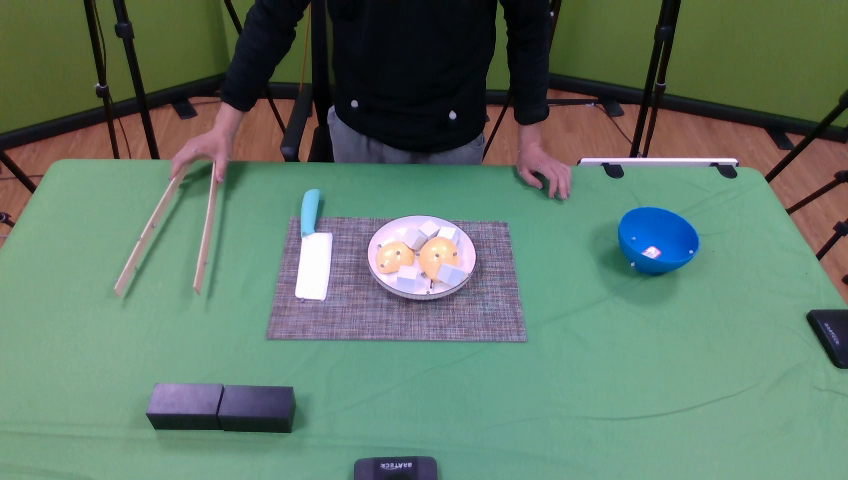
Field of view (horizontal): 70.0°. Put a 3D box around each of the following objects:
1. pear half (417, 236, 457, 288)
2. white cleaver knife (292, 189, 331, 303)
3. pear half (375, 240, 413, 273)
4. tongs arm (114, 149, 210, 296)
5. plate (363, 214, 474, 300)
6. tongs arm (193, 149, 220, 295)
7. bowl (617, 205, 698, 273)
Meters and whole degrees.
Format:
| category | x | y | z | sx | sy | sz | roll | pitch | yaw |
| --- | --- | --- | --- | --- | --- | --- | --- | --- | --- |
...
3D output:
| category | x | y | z | sx | sy | sz | roll | pitch | yaw |
| --- | --- | --- | --- | --- | --- | --- | --- | --- | --- |
| pear half | 0.022 | 0.039 | 1.127 | 0.076 | 0.056 | 0.109 | 5 | 50 | 7 |
| white cleaver knife | -0.215 | 0.006 | 1.178 | 0.066 | 0.021 | 0.284 | 5 | 49 | -13 |
| pear half | -0.059 | 0.026 | 1.145 | 0.070 | 0.031 | 0.088 | 22 | 43 | 21 |
| tongs arm | -0.500 | -0.048 | 1.179 | 0.051 | 0.027 | 0.382 | 1 | 47 | 4 |
| plate | -0.010 | 0.036 | 1.146 | 0.208 | 0.039 | 0.206 | 2 | 46 | -2 |
| tongs arm | -0.424 | -0.049 | 1.179 | 0.028 | 0.028 | 0.385 | -10 | 48 | -1 |
| bowl | 0.444 | 0.011 | 1.182 | 0.151 | 0.077 | 0.150 | 2 | 46 | -2 |
